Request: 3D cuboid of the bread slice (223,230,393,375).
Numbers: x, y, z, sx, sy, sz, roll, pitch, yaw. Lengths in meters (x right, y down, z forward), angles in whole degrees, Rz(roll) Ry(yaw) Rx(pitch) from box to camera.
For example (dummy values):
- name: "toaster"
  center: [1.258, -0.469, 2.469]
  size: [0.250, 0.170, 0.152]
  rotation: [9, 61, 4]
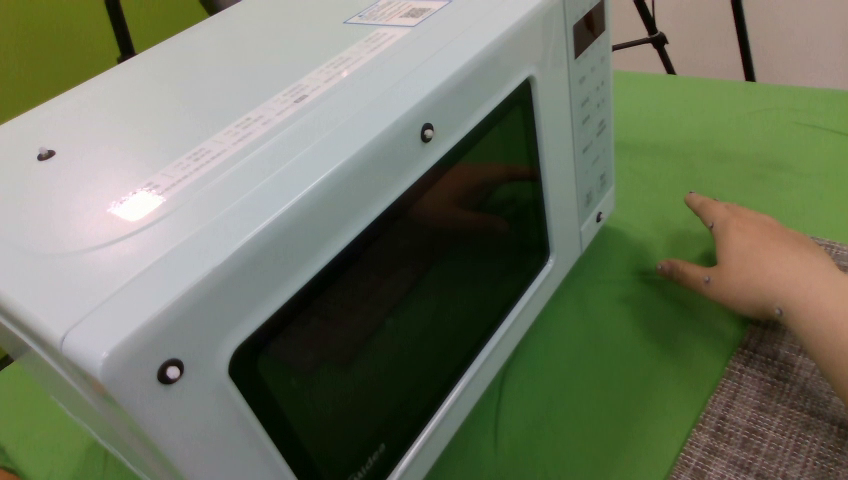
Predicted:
- name: "bread slice"
  center: [-0.094, 0.040, 0.507]
  size: [0.104, 0.019, 0.131]
  rotation: [27, 58, 40]

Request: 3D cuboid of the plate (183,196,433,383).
- name: "plate"
  center: [-0.092, 0.038, 0.501]
  size: [0.209, 0.038, 0.207]
  rotation: [-10, 37, 8]

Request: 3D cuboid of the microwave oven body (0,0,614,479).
- name: "microwave oven body"
  center: [-0.087, -0.026, 0.493]
  size: [0.323, 0.263, 0.440]
  rotation: [17, 48, 34]

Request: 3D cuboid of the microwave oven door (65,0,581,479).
- name: "microwave oven door"
  center: [0.002, 0.028, 0.384]
  size: [0.039, 0.246, 0.355]
  rotation: [17, 47, 34]

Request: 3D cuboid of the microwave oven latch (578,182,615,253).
- name: "microwave oven latch"
  center: [0.153, -0.024, 0.567]
  size: [0.030, 0.030, 0.079]
  rotation: [18, 49, 35]
